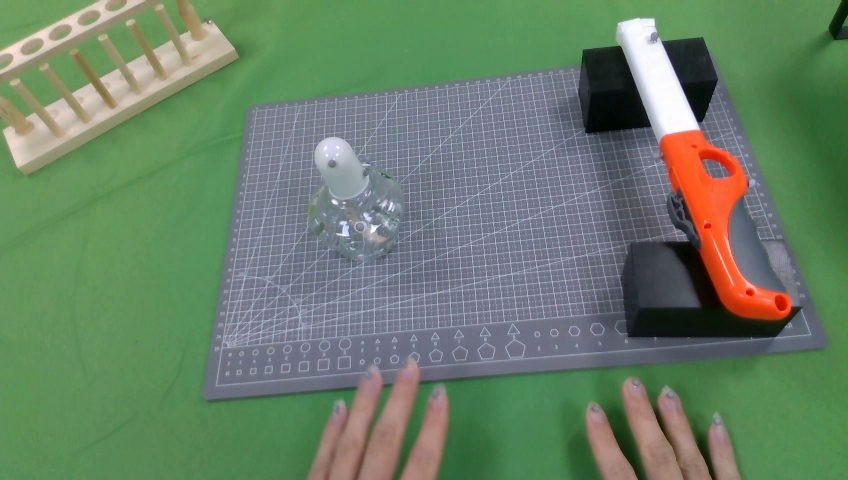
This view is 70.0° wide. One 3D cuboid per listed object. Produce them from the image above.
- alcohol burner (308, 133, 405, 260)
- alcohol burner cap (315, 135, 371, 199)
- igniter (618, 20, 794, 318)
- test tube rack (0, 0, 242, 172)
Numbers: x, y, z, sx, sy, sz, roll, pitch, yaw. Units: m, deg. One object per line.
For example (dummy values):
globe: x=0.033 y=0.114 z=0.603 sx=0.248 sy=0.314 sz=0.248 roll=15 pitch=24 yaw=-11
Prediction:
alcohol burner: x=-0.055 y=-0.036 z=0.464 sx=0.078 sy=0.120 sz=0.077 roll=-4 pitch=56 yaw=7
alcohol burner cap: x=-0.060 y=-0.055 z=0.435 sx=0.034 sy=0.048 sz=0.033 roll=-5 pitch=61 yaw=10
igniter: x=0.193 y=-0.066 z=0.439 sx=0.057 sy=0.025 sz=0.273 roll=-9 pitch=57 yaw=4
test tube rack: x=-0.318 y=-0.175 z=0.607 sx=0.242 sy=0.086 sz=0.066 roll=-33 pitch=60 yaw=-12
